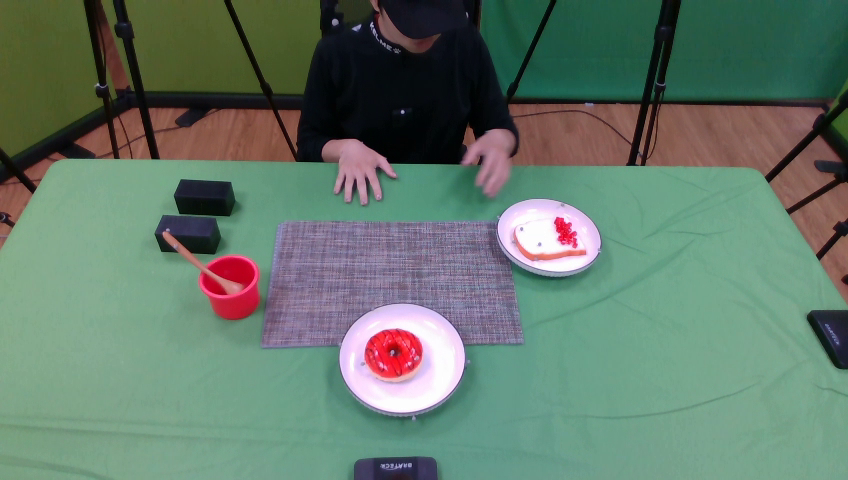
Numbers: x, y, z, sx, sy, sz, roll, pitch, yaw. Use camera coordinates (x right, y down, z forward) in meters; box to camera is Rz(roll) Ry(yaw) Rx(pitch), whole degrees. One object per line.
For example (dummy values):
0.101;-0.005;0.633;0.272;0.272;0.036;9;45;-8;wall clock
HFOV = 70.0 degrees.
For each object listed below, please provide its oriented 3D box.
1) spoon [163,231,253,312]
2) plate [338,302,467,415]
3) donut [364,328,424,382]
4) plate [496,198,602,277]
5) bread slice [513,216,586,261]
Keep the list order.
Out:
-0.364;0.054;1.025;0.194;0.021;0.041;43;49;-17;spoon
-0.035;0.194;0.992;0.208;0.039;0.206;2;48;-2;plate
-0.049;0.185;0.983;0.099;0.048;0.098;1;45;-1;donut
0.246;-0.002;1.205;0.209;0.038;0.208;2;45;-2;plate
0.247;-0.003;1.209;0.132;0.019;0.104;-9;47;-13;bread slice
